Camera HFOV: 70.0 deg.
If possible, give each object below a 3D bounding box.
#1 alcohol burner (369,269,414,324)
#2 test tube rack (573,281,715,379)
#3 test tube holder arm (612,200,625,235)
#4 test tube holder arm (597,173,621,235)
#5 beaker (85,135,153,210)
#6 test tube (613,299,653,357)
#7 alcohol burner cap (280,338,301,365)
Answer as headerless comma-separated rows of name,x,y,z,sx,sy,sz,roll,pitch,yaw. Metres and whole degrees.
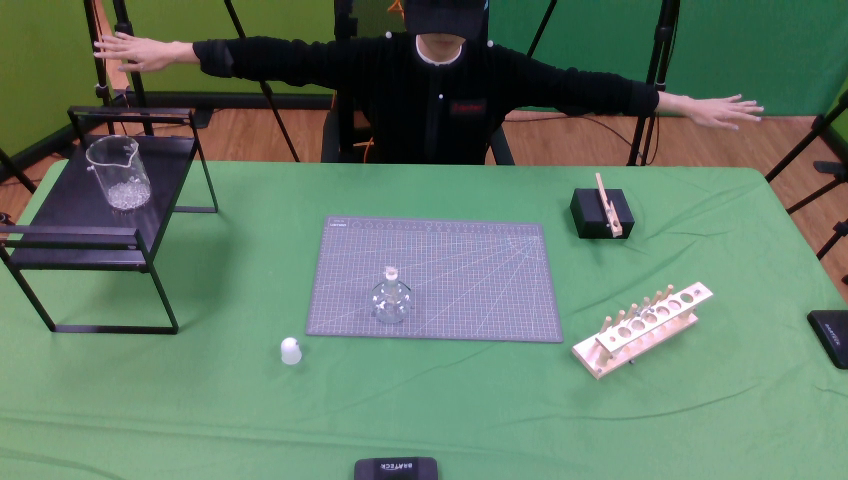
alcohol burner,-0.056,0.089,1.037,0.078,0.120,0.077,1,47,-1
test tube rack,0.378,0.140,1.038,0.242,0.085,0.066,-22,51,-23
test tube holder arm,0.381,-0.045,1.196,0.010,0.015,0.087,-6,45,3
test tube holder arm,0.373,-0.076,1.228,0.013,0.015,0.177,-6,45,3
beaker,-0.475,-0.102,0.957,0.083,0.101,0.074,34,53,26
test tube,0.329,0.143,0.963,0.017,0.151,0.017,4,48,-4
alcohol burner cap,-0.220,0.179,0.993,0.034,0.048,0.033,2,46,-2
